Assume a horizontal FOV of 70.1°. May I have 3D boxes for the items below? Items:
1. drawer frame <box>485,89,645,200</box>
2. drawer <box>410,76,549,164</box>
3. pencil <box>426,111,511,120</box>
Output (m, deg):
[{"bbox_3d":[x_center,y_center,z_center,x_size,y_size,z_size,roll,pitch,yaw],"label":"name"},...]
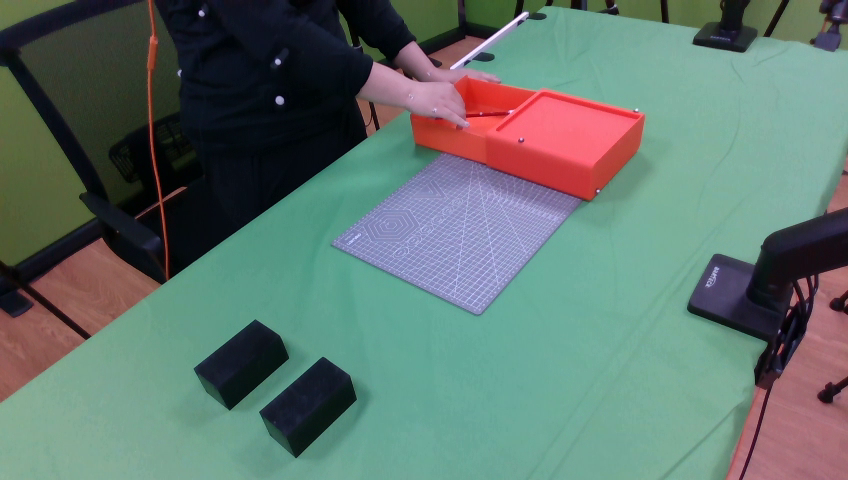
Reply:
[{"bbox_3d":[0.253,-0.180,1.094,0.212,0.083,0.202,24,48,31],"label":"drawer frame"},{"bbox_3d":[0.113,-0.238,1.190,0.210,0.073,0.195,22,47,34],"label":"drawer"},{"bbox_3d":[0.100,-0.240,1.168,0.194,0.012,0.012,-5,40,-7],"label":"pencil"}]
